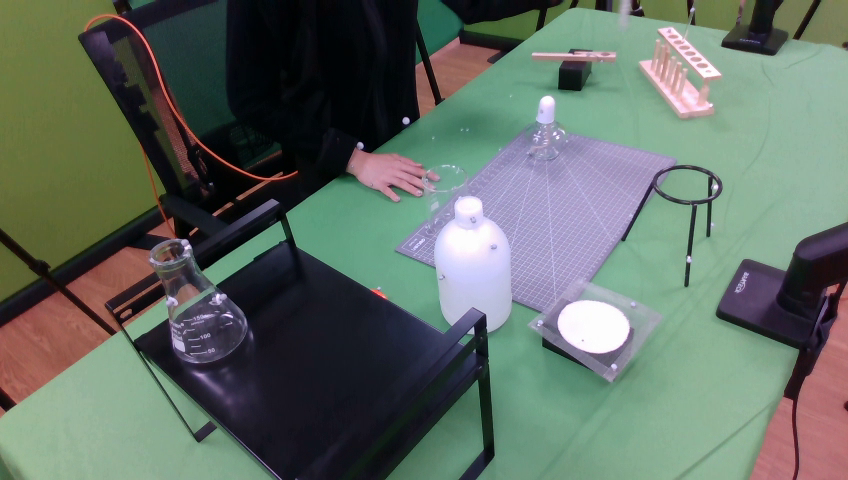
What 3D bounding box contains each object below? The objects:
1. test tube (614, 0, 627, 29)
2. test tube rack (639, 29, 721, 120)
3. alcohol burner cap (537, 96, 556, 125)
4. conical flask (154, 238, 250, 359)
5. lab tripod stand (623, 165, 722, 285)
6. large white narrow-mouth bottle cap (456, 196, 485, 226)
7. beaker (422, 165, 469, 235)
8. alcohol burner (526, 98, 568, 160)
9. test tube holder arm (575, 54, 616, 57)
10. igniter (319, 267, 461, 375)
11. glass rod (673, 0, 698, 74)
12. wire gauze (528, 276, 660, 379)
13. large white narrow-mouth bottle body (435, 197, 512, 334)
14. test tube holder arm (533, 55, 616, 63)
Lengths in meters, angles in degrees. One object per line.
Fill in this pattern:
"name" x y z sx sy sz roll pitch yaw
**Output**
"test tube" 0.336 -0.431 1.013 0.017 0.150 0.017 -1 30 1
"test tube rack" 0.527 -0.351 1.262 0.067 0.085 0.241 -8 40 1
"alcohol burner cap" 0.223 -0.237 1.095 0.034 0.048 0.033 0 43 1
"conical flask" -0.225 0.055 0.597 0.075 0.122 0.075 -5 41 4
"lab tripod stand" 0.366 -0.030 0.874 0.148 0.132 0.147 -6 41 6
"large white narrow-mouth bottle cap" 0.058 -0.036 0.750 0.038 0.024 0.037 -4 40 4
"beaker" 0.041 -0.063 0.986 0.073 0.101 0.084 20 47 29
"alcohol burner" 0.228 -0.210 1.118 0.078 0.119 0.077 -5 43 5
"test tube holder arm" 0.373 -0.398 1.318 0.087 0.015 0.010 5 51 15
"igniter" -0.060 0.108 0.862 0.274 0.025 0.057 28 62 35
"glass rod" 0.537 -0.425 1.244 0.008 0.200 0.008 0 47 1
"wire gauze" 0.214 0.103 0.763 0.124 0.011 0.122 30 52 35
"large white narrow-mouth bottle body" 0.066 0.028 0.805 0.102 0.195 0.101 -4 40 4
"test tube holder arm" 0.329 -0.398 1.327 0.178 0.015 0.013 5 51 15
